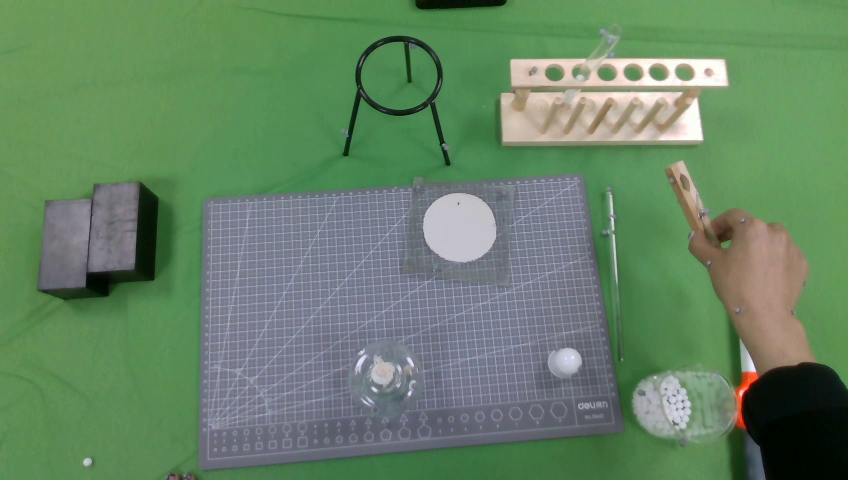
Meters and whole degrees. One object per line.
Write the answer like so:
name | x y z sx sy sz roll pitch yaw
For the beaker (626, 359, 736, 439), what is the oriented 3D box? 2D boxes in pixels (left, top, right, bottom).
beaker | 0.253 0.162 0.619 0.084 0.101 0.074 26 75 7

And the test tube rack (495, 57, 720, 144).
test tube rack | 0.211 -0.162 0.714 0.242 0.085 0.066 -1 74 -2

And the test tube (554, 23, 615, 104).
test tube | 0.174 -0.190 0.669 0.017 0.150 0.017 2 75 -6

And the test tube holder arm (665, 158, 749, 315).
test tube holder arm | 0.290 -0.002 0.620 0.013 0.015 0.179 -30 96 -6

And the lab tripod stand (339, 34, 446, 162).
lab tripod stand | -0.034 -0.151 0.679 0.148 0.132 0.147 0 76 -1

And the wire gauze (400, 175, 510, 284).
wire gauze | 0.038 -0.015 0.706 0.125 0.011 0.121 7 75 -1

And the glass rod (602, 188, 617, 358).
glass rod | 0.214 0.035 0.699 0.008 0.008 0.198 1 77 -2

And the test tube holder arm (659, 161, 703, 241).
test tube holder arm | 0.264 -0.039 0.615 0.010 0.015 0.088 -30 96 -6

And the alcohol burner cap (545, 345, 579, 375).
alcohol burner cap | 0.150 0.127 0.652 0.034 0.048 0.033 0 75 -1

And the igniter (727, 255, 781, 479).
igniter | 0.357 0.152 0.662 0.057 0.025 0.275 7 74 -10

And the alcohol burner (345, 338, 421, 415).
alcohol burner | -0.042 0.135 0.607 0.078 0.120 0.077 0 73 0
